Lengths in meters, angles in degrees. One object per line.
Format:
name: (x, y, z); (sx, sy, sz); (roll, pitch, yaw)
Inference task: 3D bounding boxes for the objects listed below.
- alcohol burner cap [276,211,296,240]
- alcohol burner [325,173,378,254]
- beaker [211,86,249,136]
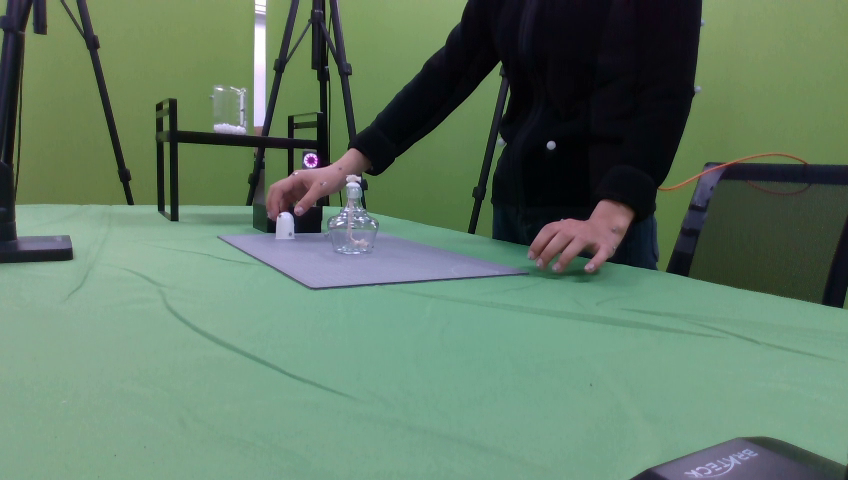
alcohol burner cap: (-0.232, -0.024, 1.013); (0.034, 0.048, 0.034); (1, 10, 0)
alcohol burner: (-0.106, -0.040, 0.896); (0.078, 0.119, 0.078); (2, 5, 0)
beaker: (-0.413, -0.274, 1.297); (0.074, 0.100, 0.083); (-5, 11, -44)
